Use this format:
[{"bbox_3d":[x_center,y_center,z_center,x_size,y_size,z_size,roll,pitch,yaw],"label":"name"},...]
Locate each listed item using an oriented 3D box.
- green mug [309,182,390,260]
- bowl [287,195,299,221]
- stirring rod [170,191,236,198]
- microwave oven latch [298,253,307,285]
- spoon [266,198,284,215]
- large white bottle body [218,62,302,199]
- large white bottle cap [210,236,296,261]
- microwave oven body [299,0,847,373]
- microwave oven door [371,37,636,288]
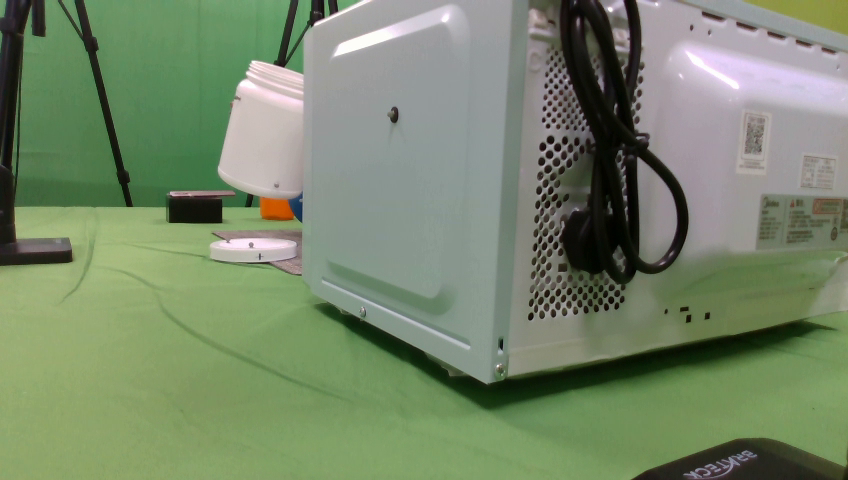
[{"bbox_3d":[-0.102,-0.029,0.864,0.126,0.105,0.092,-3,8,-40],"label":"green mug"},{"bbox_3d":[-0.179,-0.051,1.115,0.151,0.077,0.151,3,8,0],"label":"bowl"},{"bbox_3d":[-0.465,-0.098,1.283,0.014,0.006,0.177,42,21,17],"label":"stirring rod"},{"bbox_3d":[-0.081,0.027,0.582,0.079,0.029,0.030,-1,7,-32],"label":"microwave oven latch"},{"bbox_3d":[-0.334,-0.128,1.423,0.041,0.193,0.022,0,-37,7],"label":"spoon"},{"bbox_3d":[-0.234,-0.169,0.937,0.131,0.184,0.130,18,16,-5],"label":"large white bottle body"},{"bbox_3d":[-0.236,0.011,0.839,0.115,0.018,0.115,-1,10,0],"label":"large white bottle cap"},{"bbox_3d":[0.151,-0.055,0.542,0.444,0.260,0.324,-2,7,-33],"label":"microwave oven body"},{"bbox_3d":[0.110,-0.080,0.687,0.358,0.243,0.039,-2,9,-33],"label":"microwave oven door"}]
